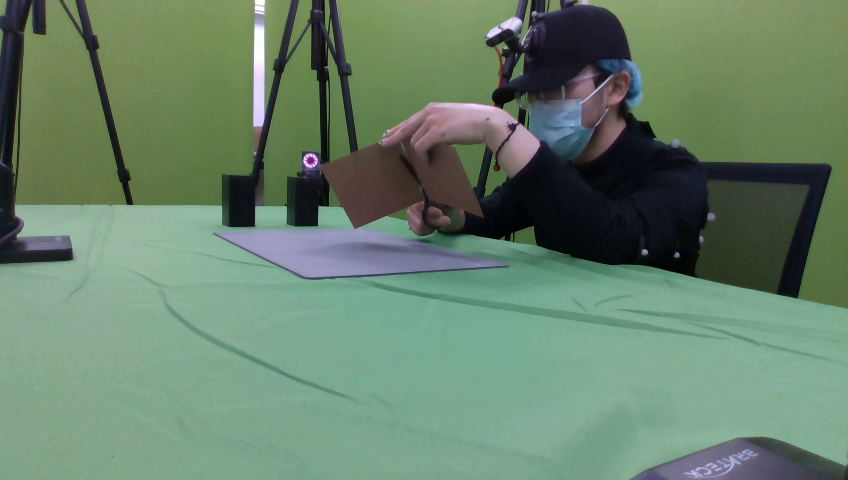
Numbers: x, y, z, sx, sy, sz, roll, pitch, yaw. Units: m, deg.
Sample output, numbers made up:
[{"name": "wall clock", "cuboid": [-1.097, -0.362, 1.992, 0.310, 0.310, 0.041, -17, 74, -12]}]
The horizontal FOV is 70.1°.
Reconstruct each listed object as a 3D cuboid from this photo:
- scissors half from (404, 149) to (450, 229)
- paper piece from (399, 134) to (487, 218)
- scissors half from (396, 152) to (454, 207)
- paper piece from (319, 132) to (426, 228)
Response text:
[{"name": "scissors half", "cuboid": [-0.001, -0.087, 1.012, 0.012, 0.176, 0.040, 2, 42, 42]}, {"name": "paper piece", "cuboid": [0.029, -0.101, 0.934, 0.008, 0.136, 0.137, -46, 40, -20]}, {"name": "scissors half", "cuboid": [0.009, -0.105, 1.022, 0.013, 0.040, 0.176, -3, -23, 39]}, {"name": "paper piece", "cuboid": [-0.082, -0.095, 0.992, 0.136, 0.136, 0.004, -23, 34, 5]}]
